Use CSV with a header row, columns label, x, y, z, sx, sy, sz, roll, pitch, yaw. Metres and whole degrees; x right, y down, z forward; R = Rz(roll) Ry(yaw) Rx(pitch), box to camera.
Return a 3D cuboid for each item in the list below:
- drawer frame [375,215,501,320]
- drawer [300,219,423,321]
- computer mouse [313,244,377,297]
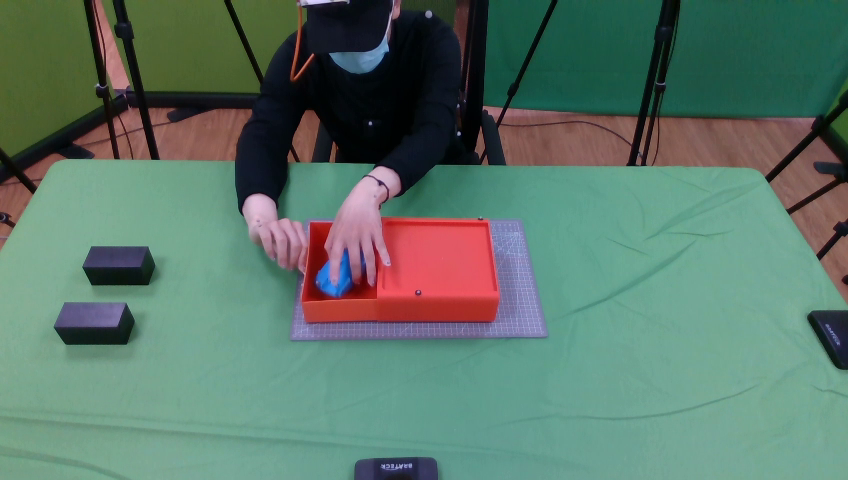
label,x,y,z,sx,sy,sz,roll,pitch,yaw
drawer frame,0.020,0.048,1.102,0.214,0.083,0.200,1,46,-4
drawer,-0.109,0.049,1.094,0.212,0.073,0.193,-1,46,-3
computer mouse,-0.142,0.052,1.089,0.062,0.041,0.117,30,53,24
